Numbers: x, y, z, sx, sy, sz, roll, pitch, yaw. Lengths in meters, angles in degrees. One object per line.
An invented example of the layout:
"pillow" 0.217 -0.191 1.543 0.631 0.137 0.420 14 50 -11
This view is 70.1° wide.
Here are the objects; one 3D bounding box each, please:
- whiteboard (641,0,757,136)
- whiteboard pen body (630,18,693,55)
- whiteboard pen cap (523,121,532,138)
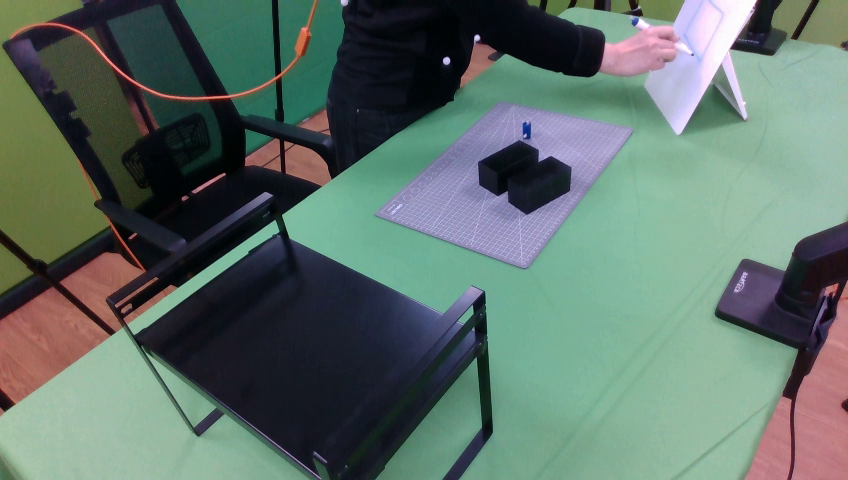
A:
"whiteboard" 0.576 -0.367 1.147 0.144 0.306 0.216 9 39 -9
"whiteboard pen body" 0.430 -0.363 1.086 0.141 0.017 0.017 20 38 -18
"whiteboard pen cap" 0.204 -0.216 1.185 0.018 0.033 0.018 -6 41 6
